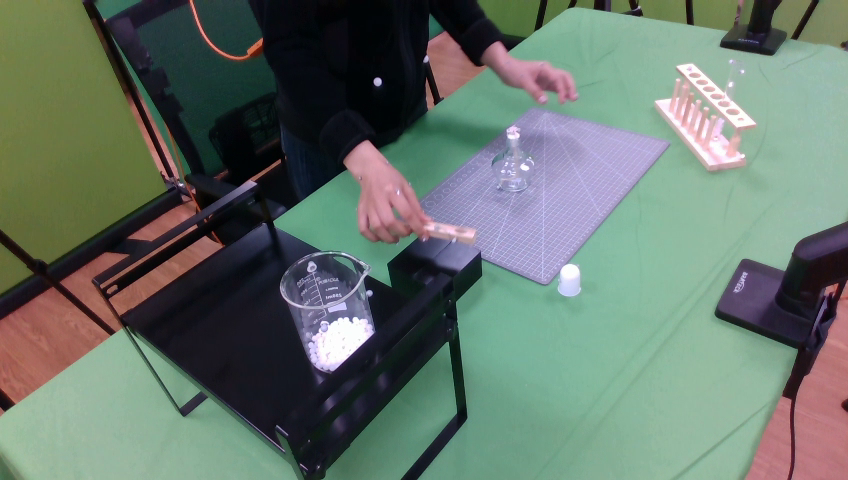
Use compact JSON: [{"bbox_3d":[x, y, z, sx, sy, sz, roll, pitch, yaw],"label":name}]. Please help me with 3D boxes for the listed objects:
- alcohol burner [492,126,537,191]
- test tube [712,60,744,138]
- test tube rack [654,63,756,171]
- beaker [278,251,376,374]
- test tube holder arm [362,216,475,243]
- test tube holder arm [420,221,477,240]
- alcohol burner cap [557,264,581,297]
[{"bbox_3d":[0.156,-0.146,1.046,0.078,0.119,0.077,-4,43,4],"label":"alcohol burner"},{"bbox_3d":[0.527,-0.242,1.052,0.017,0.151,0.017,-3,44,3],"label":"test tube"},{"bbox_3d":[0.510,-0.233,1.120,0.067,0.085,0.241,-8,41,-1],"label":"test tube rack"},{"bbox_3d":[-0.084,0.070,0.569,0.084,0.101,0.073,-18,42,-13],"label":"beaker"},{"bbox_3d":[-0.011,-0.016,0.873,0.177,0.015,0.013,9,39,21],"label":"test tube holder arm"},{"bbox_3d":[0.033,-0.013,0.860,0.087,0.015,0.010,10,39,22],"label":"test tube holder arm"},{"bbox_3d":[0.208,0.055,0.866,0.034,0.048,0.033,-4,42,4],"label":"alcohol burner cap"}]
